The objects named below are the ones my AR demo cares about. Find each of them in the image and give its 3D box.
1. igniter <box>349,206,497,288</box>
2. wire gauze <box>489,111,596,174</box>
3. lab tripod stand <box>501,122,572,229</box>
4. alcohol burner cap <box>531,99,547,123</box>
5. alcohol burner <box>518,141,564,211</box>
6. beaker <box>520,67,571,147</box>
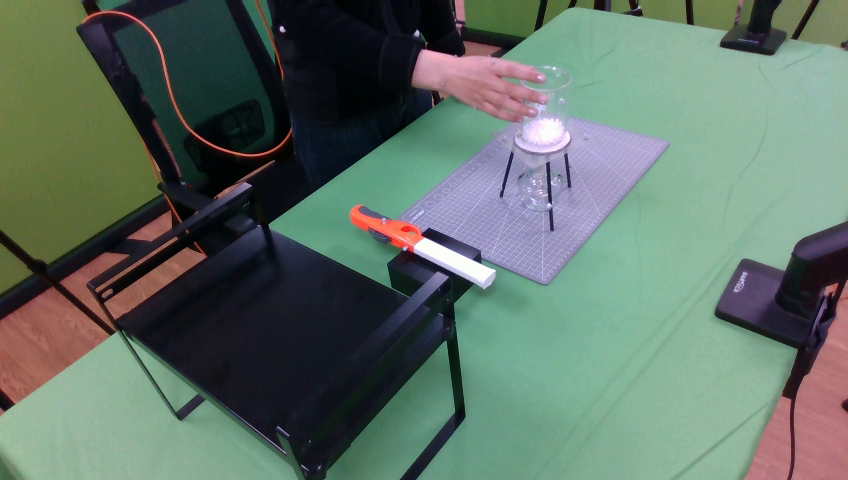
[{"bbox_3d":[-0.013,0.004,0.897,0.274,0.025,0.057,25,44,32],"label":"igniter"},{"bbox_3d":[0.183,-0.160,0.944,0.122,0.011,0.124,-25,47,-17],"label":"wire gauze"},{"bbox_3d":[0.194,-0.110,0.985,0.148,0.132,0.147,-3,41,3],"label":"lab tripod stand"},{"bbox_3d":[0.234,-0.264,1.231,0.034,0.048,0.033,-6,41,5],"label":"alcohol burner cap"},{"bbox_3d":[0.193,-0.109,0.999,0.078,0.119,0.077,-5,38,5],"label":"alcohol burner"},{"bbox_3d":[0.184,-0.201,0.917,0.073,0.101,0.084,26,51,31],"label":"beaker"}]
